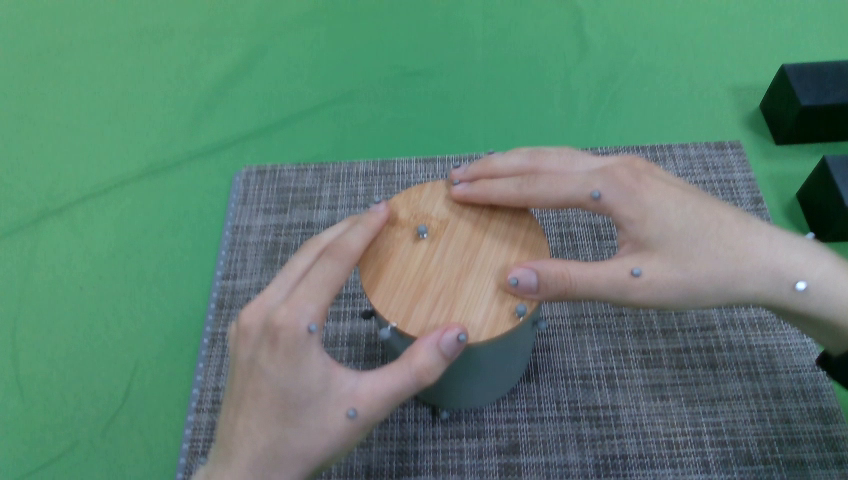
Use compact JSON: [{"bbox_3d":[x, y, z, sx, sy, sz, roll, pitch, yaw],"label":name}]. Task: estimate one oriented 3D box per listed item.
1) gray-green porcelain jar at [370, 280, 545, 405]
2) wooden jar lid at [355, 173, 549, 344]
[{"bbox_3d":[0.021,0.044,0.398,0.106,0.127,0.105,-2,58,3],"label":"gray-green porcelain jar"},{"bbox_3d":[0.016,0.010,0.344,0.108,0.021,0.107,0,61,1],"label":"wooden jar lid"}]
